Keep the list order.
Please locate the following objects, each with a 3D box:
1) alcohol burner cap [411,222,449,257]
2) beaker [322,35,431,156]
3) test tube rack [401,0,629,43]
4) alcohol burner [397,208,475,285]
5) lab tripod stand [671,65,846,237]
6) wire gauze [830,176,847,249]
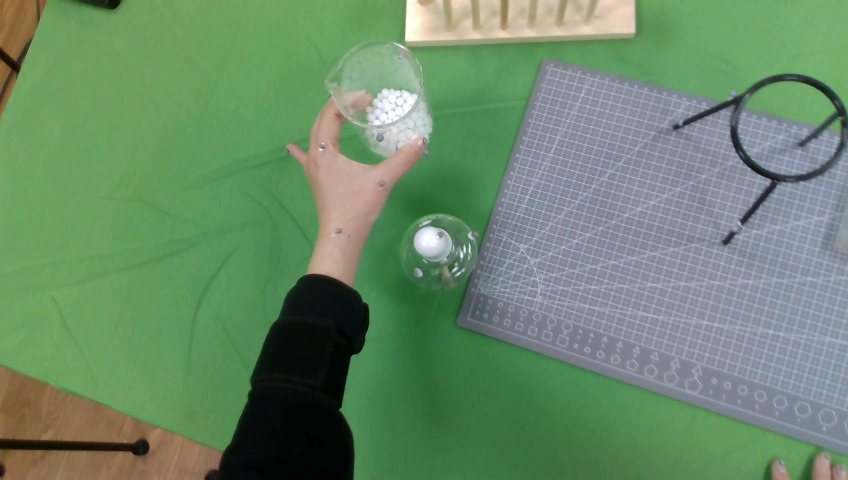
[{"bbox_3d":[0.003,-0.002,0.549,0.034,0.048,0.034,-1,84,7],"label":"alcohol burner cap"},{"bbox_3d":[-0.035,-0.119,0.524,0.084,0.100,0.074,6,82,8],"label":"beaker"},{"bbox_3d":[0.091,-0.257,0.622,0.242,0.085,0.066,0,82,8],"label":"test tube rack"},{"bbox_3d":[0.010,0.004,0.584,0.078,0.119,0.077,-1,80,7],"label":"alcohol burner"},{"bbox_3d":[0.297,-0.083,0.542,0.148,0.132,0.148,-1,84,7],"label":"lab tripod stand"},{"bbox_3d":[0.463,-0.030,0.576,0.125,0.011,0.121,22,85,8],"label":"wire gauze"}]
